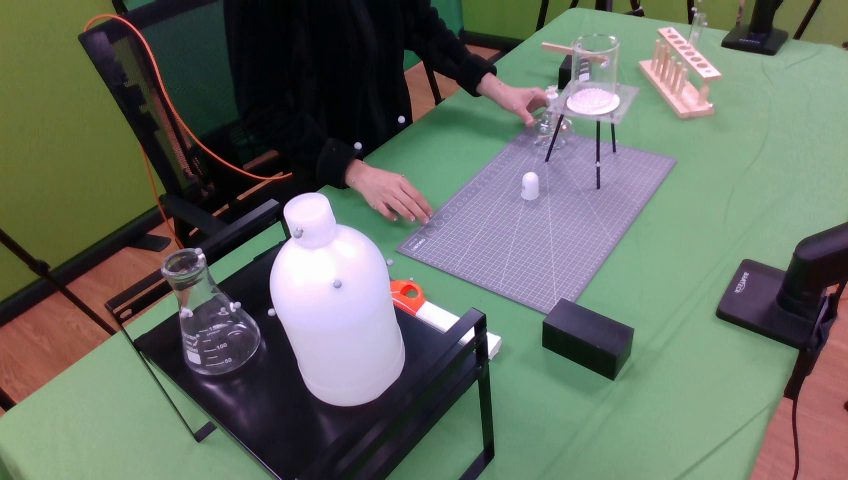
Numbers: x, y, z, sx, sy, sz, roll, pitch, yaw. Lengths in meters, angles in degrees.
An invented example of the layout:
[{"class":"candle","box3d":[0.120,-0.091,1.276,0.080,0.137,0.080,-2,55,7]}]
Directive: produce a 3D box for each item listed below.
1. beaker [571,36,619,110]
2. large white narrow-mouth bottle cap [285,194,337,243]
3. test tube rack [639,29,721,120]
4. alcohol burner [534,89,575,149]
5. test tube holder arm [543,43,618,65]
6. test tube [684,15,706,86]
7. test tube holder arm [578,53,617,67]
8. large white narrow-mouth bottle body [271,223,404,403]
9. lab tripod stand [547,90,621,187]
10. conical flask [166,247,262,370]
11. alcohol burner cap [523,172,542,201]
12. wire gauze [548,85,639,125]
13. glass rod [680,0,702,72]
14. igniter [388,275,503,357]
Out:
[{"class":"beaker","box3d":[0.281,-0.273,0.992,0.084,0.101,0.073,-24,42,-16]},{"class":"large white narrow-mouth bottle cap","box3d":[-0.087,-0.017,0.467,0.038,0.024,0.037,-5,40,4]},{"class":"test tube rack","box3d":[0.527,-0.351,1.262,0.067,0.085,0.241,-8,40,1]},{"class":"alcohol burner","box3d":[0.247,-0.233,1.143,0.078,0.119,0.077,-5,42,5]},{"class":"test tube holder arm","box3d":[0.344,-0.413,1.340,0.177,0.015,0.013,25,51,31]},{"class":"test tube","box3d":[0.540,-0.378,1.215,0.017,0.151,0.017,-2,44,3]},{"class":"test tube holder arm","box3d":[0.376,-0.393,1.314,0.087,0.015,0.010,26,51,32]},{"class":"large white narrow-mouth bottle body","box3d":[-0.077,0.048,0.525,0.102,0.195,0.101,-5,40,5]},{"class":"lab tripod stand","box3d":[0.289,-0.184,1.062,0.148,0.132,0.147,-6,41,6]},{"class":"conical flask","box3d":[-0.209,0.064,0.584,0.075,0.122,0.075,-5,40,4]},{"class":"alcohol burner cap","box3d":[0.186,-0.096,1.047,0.034,0.048,0.033,-6,37,5]},{"class":"wire gauze","box3d":[0.286,-0.233,1.020,0.124,0.011,0.122,15,43,30]},{"class":"glass rod","box3d":[0.542,-0.417,1.233,0.008,0.200,0.008,1,40,0]},{"class":"igniter","box3d":[-0.008,0.093,0.870,0.274,0.025,0.057,24,60,33]}]
